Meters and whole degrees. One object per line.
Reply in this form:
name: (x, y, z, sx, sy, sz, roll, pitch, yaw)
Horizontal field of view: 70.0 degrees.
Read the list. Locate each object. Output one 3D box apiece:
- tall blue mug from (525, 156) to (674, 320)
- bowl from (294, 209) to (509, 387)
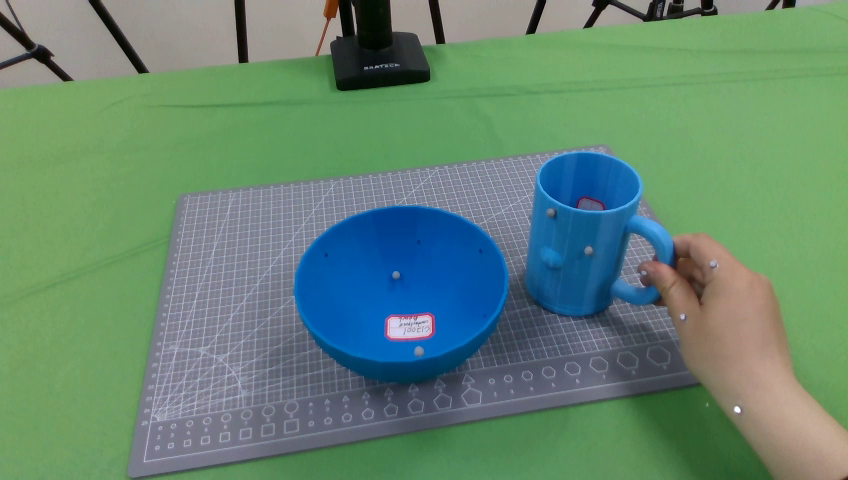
tall blue mug: (0.137, 0.003, 0.474, 0.107, 0.109, 0.077, 9, 43, 12)
bowl: (-0.015, 0.054, 0.447, 0.151, 0.077, 0.150, 0, 43, 1)
